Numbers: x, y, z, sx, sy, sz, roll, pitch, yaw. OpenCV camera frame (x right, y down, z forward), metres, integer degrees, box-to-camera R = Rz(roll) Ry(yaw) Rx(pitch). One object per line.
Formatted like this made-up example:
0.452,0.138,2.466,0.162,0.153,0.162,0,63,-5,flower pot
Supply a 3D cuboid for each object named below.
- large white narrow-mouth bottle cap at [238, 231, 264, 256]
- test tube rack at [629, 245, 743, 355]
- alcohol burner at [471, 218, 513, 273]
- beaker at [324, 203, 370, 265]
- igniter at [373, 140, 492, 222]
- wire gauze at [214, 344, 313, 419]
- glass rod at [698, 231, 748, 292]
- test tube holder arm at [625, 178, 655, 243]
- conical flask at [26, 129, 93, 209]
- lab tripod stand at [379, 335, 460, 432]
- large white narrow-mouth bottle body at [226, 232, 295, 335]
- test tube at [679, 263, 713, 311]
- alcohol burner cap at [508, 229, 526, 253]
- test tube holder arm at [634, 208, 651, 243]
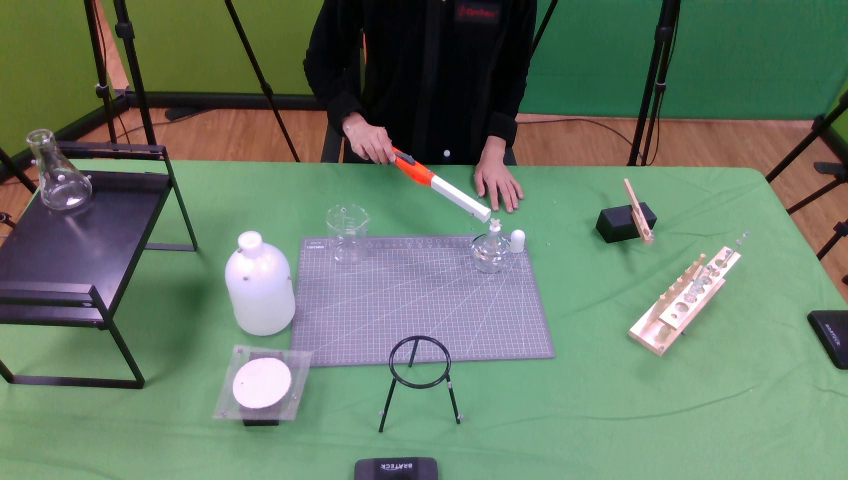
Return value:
-0.266,0.006,0.932,0.038,0.024,0.037,2,46,-2,large white narrow-mouth bottle cap
0.474,0.095,1.091,0.242,0.085,0.066,-34,56,-31,test tube rack
0.128,0.005,1.132,0.078,0.120,0.077,0,47,0,alcohol burner
-0.142,-0.009,1.137,0.084,0.101,0.073,-3,47,-7,beaker
0.010,-0.116,1.139,0.275,0.057,0.025,34,66,20,igniter
-0.241,0.213,0.915,0.121,0.011,0.124,5,46,1,wire gauze
0.514,0.044,1.051,0.008,0.200,0.008,1,55,-1,glass rod
0.433,-0.063,1.220,0.013,0.015,0.177,1,47,-3,test tube holder arm
-0.575,-0.113,0.946,0.075,0.122,0.075,2,46,-2,conical flask
-0.011,0.214,0.911,0.148,0.132,0.147,1,45,0,lab tripod stand
-0.270,0.065,0.995,0.102,0.195,0.101,2,46,-2,large white narrow-mouth bottle body
0.453,0.092,1.023,0.017,0.151,0.017,1,49,-1,test tube
0.185,-0.002,1.192,0.034,0.048,0.033,3,45,-2,alcohol burner cap
0.428,-0.030,1.189,0.010,0.015,0.087,1,47,-2,test tube holder arm
